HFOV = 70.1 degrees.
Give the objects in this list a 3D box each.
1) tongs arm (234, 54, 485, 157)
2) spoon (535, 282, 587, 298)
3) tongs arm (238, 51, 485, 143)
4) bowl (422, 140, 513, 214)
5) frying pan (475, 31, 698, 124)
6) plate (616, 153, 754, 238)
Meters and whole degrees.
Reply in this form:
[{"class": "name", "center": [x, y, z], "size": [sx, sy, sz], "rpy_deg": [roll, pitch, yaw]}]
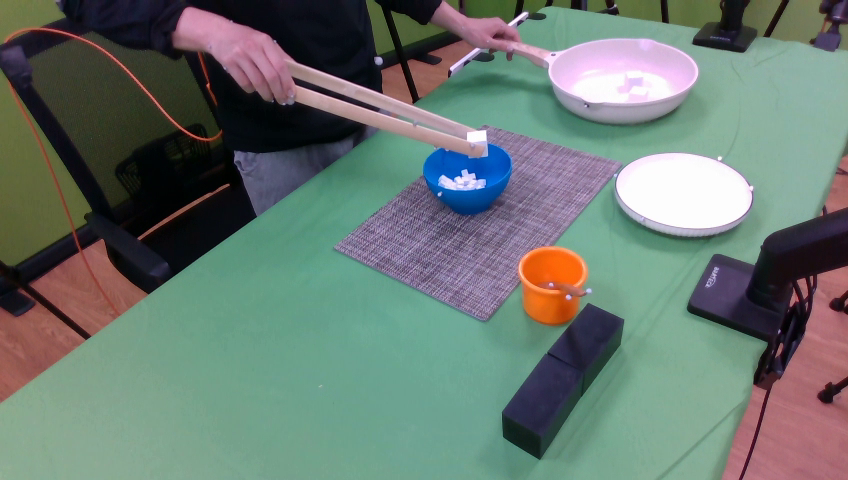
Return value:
[{"class": "tongs arm", "center": [-0.091, -0.199, 0.910], "size": [0.387, 0.026, 0.050], "rpy_deg": [13, 46, -14]}, {"class": "spoon", "center": [0.176, 0.063, 0.774], "size": [0.041, 0.194, 0.021], "rpy_deg": [-4, 85, 1]}, {"class": "tongs arm", "center": [-0.089, -0.215, 0.926], "size": [0.389, 0.028, 0.028], "rpy_deg": [17, 49, -11]}, {"class": "bowl", "center": [0.075, -0.097, 1.021], "size": [0.151, 0.077, 0.150], "rpy_deg": [-4, 41, 4]}, {"class": "frying pan", "center": [0.320, -0.371, 1.290], "size": [0.485, 0.103, 0.307], "rpy_deg": [28, 50, 23]}, {"class": "plate", "center": [0.416, -0.069, 0.977], "size": [0.207, 0.039, 0.206], "rpy_deg": [-4, 40, 4]}]
